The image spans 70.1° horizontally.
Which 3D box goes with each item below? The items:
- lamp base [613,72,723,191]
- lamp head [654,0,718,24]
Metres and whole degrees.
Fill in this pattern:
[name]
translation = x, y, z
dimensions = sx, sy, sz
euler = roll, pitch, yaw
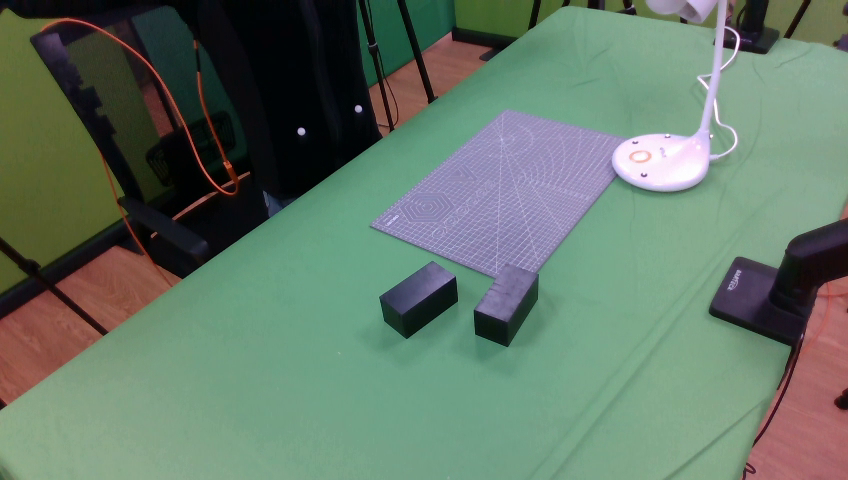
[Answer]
[lamp base]
translation = 0.423, -0.198, 1.020
dimensions = 0.179, 0.181, 0.159
euler = -6, 42, -3
[lamp head]
translation = 0.356, -0.361, 0.788
dimensions = 0.123, 0.113, 0.111
euler = -51, 42, 13
